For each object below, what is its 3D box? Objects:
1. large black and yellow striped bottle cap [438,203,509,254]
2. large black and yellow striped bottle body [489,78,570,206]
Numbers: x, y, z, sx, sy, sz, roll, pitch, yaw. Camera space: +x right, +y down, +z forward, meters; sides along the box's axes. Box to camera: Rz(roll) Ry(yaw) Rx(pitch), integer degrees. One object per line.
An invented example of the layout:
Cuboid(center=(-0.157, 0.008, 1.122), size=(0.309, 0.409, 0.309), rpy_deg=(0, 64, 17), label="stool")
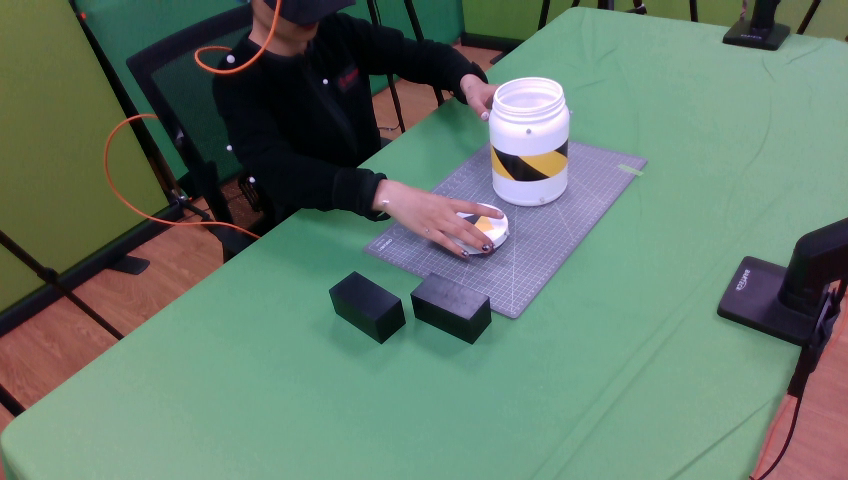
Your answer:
Cuboid(center=(0.080, -0.020, 0.977), size=(0.115, 0.019, 0.114), rpy_deg=(-4, 40, 4), label="large black and yellow striped bottle cap")
Cuboid(center=(0.177, -0.164, 1.012), size=(0.131, 0.185, 0.130), rpy_deg=(-5, 40, 5), label="large black and yellow striped bottle body")
